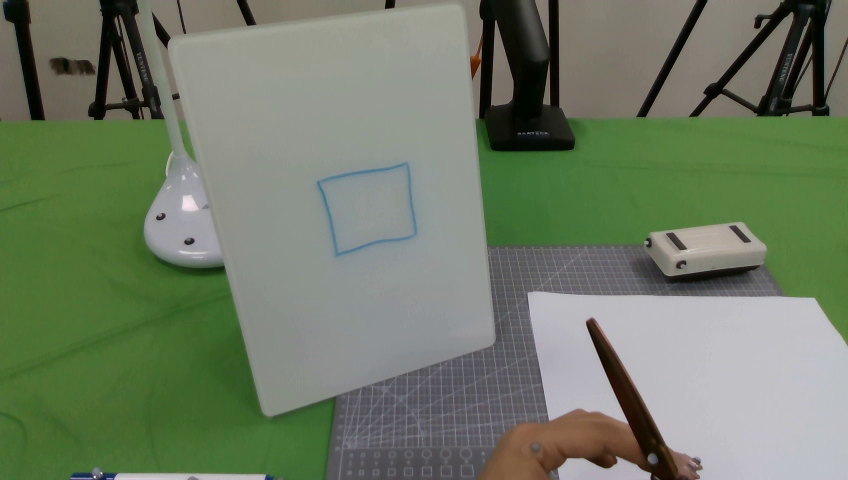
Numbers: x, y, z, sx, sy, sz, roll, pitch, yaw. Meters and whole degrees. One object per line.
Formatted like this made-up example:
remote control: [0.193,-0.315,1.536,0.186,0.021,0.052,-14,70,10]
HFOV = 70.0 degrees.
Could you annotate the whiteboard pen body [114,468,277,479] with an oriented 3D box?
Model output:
whiteboard pen body: [-0.180,0.177,0.446,0.141,0.017,0.017,1,38,-2]

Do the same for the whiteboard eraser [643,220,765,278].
whiteboard eraser: [0.298,0.011,0.649,0.113,0.042,0.055,-6,40,-8]

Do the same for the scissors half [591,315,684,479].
scissors half: [0.123,0.116,0.297,0.013,0.040,0.174,-25,82,-10]

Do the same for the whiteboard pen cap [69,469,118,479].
whiteboard pen cap: [-0.239,0.176,0.443,0.033,0.018,0.018,0,38,-4]

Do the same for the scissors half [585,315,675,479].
scissors half: [0.120,0.119,0.315,0.013,0.175,0.040,-24,1,-15]

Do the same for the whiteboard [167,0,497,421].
whiteboard: [-0.073,-0.036,0.541,0.218,0.307,0.142,-14,21,-16]

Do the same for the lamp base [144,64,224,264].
lamp base: [-0.248,-0.091,0.661,0.177,0.182,0.160,26,45,32]
